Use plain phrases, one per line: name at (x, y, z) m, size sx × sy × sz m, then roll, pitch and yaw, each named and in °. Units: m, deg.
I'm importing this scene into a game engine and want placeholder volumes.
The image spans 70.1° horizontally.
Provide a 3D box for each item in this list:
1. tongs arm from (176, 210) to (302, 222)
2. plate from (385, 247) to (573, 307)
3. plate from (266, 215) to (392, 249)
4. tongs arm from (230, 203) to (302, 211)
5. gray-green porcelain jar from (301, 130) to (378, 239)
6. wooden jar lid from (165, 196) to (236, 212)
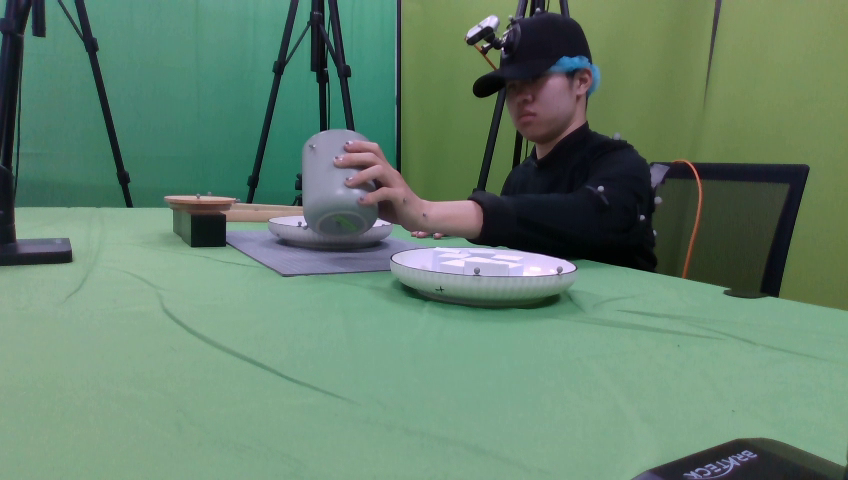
tongs arm at (-0.337, -0.053, 1.329) m, size 0.389 × 0.028 × 0.028 m, roll -1°, pitch 6°, yaw -27°
plate at (0.060, 0.041, 0.678) m, size 0.208 × 0.039 × 0.207 m, roll 3°, pitch 7°, yaw 0°
plate at (-0.159, -0.015, 1.019) m, size 0.209 × 0.038 × 0.209 m, roll 3°, pitch 7°, yaw 0°
tongs arm at (-0.362, -0.068, 1.406) m, size 0.386 × 0.026 × 0.050 m, roll 2°, pitch 8°, yaw -14°
gray-green porcelain jar at (-0.120, -0.073, 0.854) m, size 0.106 × 0.126 × 0.106 m, roll -6°, pitch -29°, yaw -3°
wooden jar lid at (-0.369, -0.060, 1.001) m, size 0.108 × 0.020 × 0.108 m, roll 3°, pitch 6°, yaw 0°
